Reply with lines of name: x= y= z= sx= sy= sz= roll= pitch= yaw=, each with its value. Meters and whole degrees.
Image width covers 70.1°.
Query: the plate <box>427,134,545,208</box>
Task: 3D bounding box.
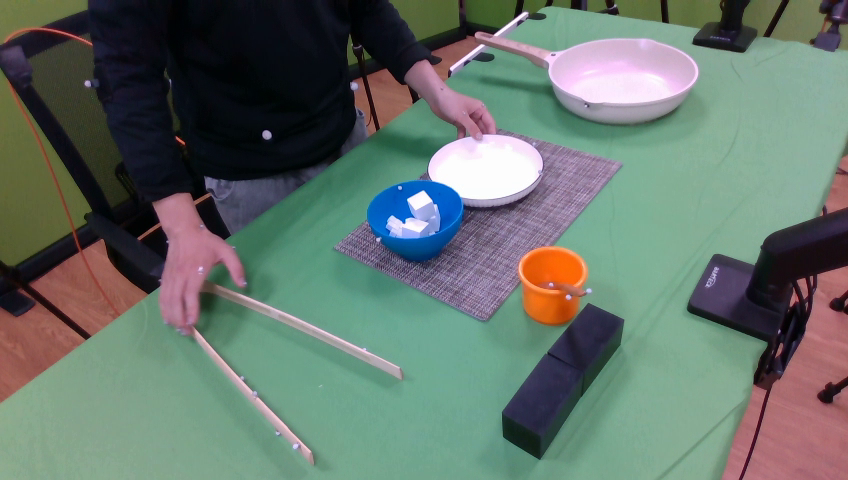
plate: x=0.110 y=-0.119 z=1.073 sx=0.207 sy=0.039 sz=0.206 roll=-4 pitch=40 yaw=4

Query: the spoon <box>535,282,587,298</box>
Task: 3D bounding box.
spoon: x=0.176 y=0.063 z=0.774 sx=0.041 sy=0.194 sz=0.021 roll=-3 pitch=85 yaw=0

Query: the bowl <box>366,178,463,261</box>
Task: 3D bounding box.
bowl: x=-0.011 y=-0.021 z=0.945 sx=0.151 sy=0.077 sz=0.150 roll=-4 pitch=41 yaw=4

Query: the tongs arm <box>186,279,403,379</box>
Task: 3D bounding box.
tongs arm: x=-0.193 y=0.120 z=0.853 sx=0.385 sy=0.028 sz=0.028 roll=17 pitch=49 yaw=27

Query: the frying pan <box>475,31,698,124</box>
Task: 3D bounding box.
frying pan: x=0.320 y=-0.371 z=1.290 sx=0.485 sy=0.103 sz=0.307 roll=28 pitch=50 yaw=23

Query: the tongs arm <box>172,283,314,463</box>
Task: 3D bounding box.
tongs arm: x=-0.246 y=0.161 z=0.806 sx=0.381 sy=0.026 sz=0.051 roll=29 pitch=51 yaw=36
